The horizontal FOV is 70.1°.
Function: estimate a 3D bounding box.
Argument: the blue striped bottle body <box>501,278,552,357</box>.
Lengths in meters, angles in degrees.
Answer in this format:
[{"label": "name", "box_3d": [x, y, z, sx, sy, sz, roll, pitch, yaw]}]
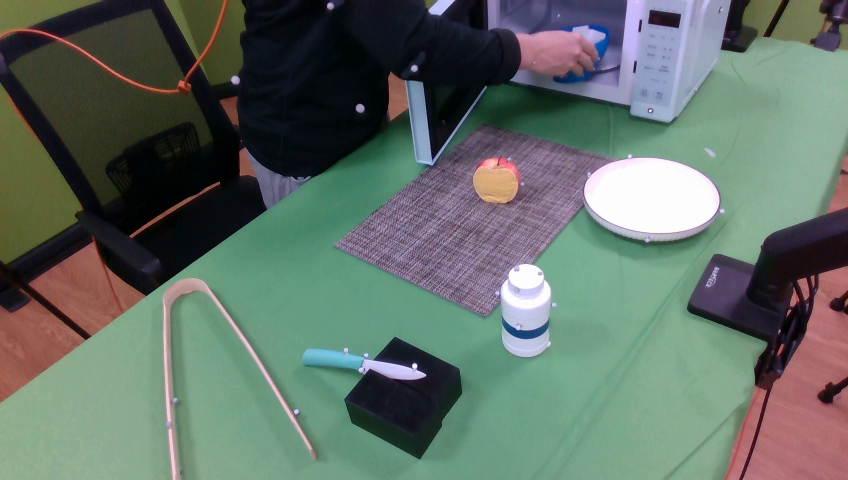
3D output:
[{"label": "blue striped bottle body", "box_3d": [0.130, 0.089, 0.769, 0.063, 0.121, 0.063, -4, 40, 4]}]

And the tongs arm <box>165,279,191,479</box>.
[{"label": "tongs arm", "box_3d": [-0.313, 0.182, 0.789, 0.051, 0.026, 0.381, -20, 41, -13]}]

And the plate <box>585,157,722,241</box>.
[{"label": "plate", "box_3d": [0.367, -0.063, 0.979, 0.207, 0.039, 0.206, -4, 41, 4]}]

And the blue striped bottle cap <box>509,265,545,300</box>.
[{"label": "blue striped bottle cap", "box_3d": [0.125, 0.051, 0.735, 0.044, 0.021, 0.044, -6, 38, 5]}]

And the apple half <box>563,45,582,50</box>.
[{"label": "apple half", "box_3d": [0.285, -0.358, 1.176, 0.081, 0.033, 0.081, -14, 33, 10]}]

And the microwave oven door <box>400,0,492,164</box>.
[{"label": "microwave oven door", "box_3d": [0.055, -0.344, 1.167, 0.039, 0.245, 0.356, 11, 44, 21]}]

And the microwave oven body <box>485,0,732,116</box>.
[{"label": "microwave oven body", "box_3d": [0.377, -0.463, 1.267, 0.438, 0.261, 0.327, 21, 49, 30]}]

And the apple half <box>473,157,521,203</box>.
[{"label": "apple half", "box_3d": [0.127, -0.106, 1.030, 0.080, 0.075, 0.053, 4, 36, 19]}]

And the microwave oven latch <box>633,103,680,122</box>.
[{"label": "microwave oven latch", "box_3d": [0.444, -0.249, 1.158, 0.078, 0.029, 0.030, 21, 49, 30]}]

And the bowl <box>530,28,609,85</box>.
[{"label": "bowl", "box_3d": [0.287, -0.353, 1.180, 0.151, 0.077, 0.151, -11, 29, 7]}]

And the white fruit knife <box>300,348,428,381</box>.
[{"label": "white fruit knife", "box_3d": [-0.079, 0.154, 0.748, 0.206, 0.027, 0.016, 1, 21, 34]}]

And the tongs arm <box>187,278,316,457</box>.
[{"label": "tongs arm", "box_3d": [-0.241, 0.153, 0.815, 0.028, 0.028, 0.384, -32, 45, -21]}]
